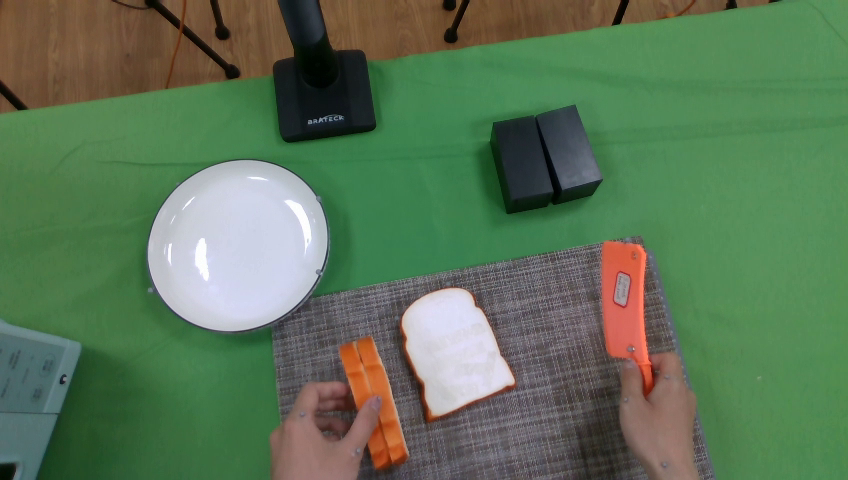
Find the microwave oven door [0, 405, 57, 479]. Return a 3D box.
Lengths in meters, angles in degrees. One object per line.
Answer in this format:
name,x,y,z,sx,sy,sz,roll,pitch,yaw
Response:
microwave oven door,-0.450,0.312,0.496,0.039,0.245,0.354,11,74,4

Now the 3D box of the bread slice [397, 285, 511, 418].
bread slice,0.030,0.119,0.683,0.107,0.018,0.134,-17,83,-10

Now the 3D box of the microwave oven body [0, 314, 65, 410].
microwave oven body,-0.584,0.246,0.521,0.326,0.261,0.439,11,75,3

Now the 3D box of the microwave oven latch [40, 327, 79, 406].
microwave oven latch,-0.401,0.136,0.652,0.030,0.029,0.079,13,75,4

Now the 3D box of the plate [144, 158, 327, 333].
plate,-0.214,0.007,0.708,0.208,0.039,0.206,0,74,0

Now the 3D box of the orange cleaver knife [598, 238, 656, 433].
orange cleaver knife,0.217,0.098,0.655,0.012,0.077,0.210,1,81,-22
